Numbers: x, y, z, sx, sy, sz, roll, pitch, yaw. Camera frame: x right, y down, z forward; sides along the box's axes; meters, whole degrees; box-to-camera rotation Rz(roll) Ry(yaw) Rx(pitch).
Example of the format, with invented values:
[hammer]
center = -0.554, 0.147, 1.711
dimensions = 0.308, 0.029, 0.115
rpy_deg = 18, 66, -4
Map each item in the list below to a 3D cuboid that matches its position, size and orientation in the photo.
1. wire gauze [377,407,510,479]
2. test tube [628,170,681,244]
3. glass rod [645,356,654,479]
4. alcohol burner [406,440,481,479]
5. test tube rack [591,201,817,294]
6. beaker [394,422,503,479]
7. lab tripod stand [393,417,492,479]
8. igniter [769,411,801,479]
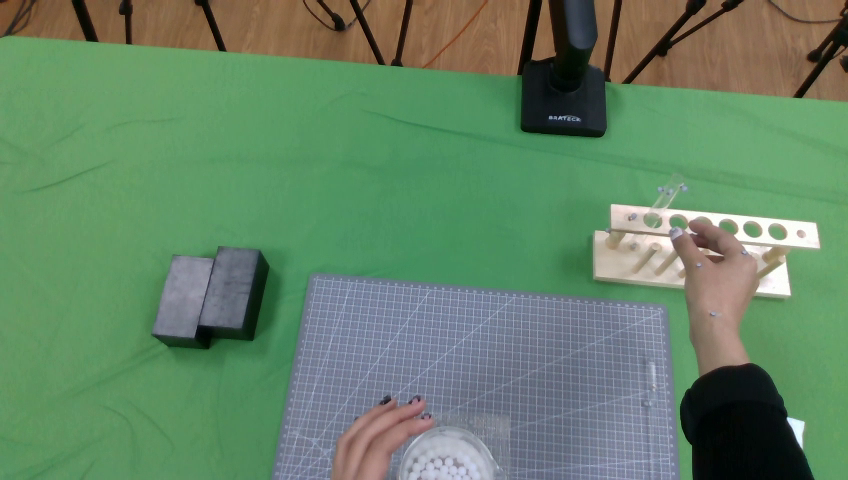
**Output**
[wire gauze]
center = 0.016, 0.213, 0.549
dimensions = 0.125, 0.011, 0.120
rpy_deg = 1, 64, 2
[test tube]
center = 0.267, -0.035, 0.712
dimensions = 0.017, 0.151, 0.017
rpy_deg = 0, 62, 0
[glass rod]
center = 0.256, 0.230, 0.686
dimensions = 0.008, 0.008, 0.198
rpy_deg = 7, 69, 2
[alcohol burner]
center = 0.021, 0.241, 0.620
dimensions = 0.078, 0.120, 0.077
rpy_deg = 1, 64, -2
[test tube rack]
center = 0.338, 0.010, 0.747
dimensions = 0.242, 0.086, 0.066
rpy_deg = 5, 66, 2
[beaker]
center = 0.019, 0.197, 0.503
dimensions = 0.084, 0.101, 0.073
rpy_deg = 1, 65, 0
[lab tripod stand]
center = 0.015, 0.243, 0.608
dimensions = 0.148, 0.132, 0.147
rpy_deg = 0, 65, 1
[igniter]
center = 0.383, 0.322, 0.640
dimensions = 0.057, 0.025, 0.275
rpy_deg = 16, 67, -5
